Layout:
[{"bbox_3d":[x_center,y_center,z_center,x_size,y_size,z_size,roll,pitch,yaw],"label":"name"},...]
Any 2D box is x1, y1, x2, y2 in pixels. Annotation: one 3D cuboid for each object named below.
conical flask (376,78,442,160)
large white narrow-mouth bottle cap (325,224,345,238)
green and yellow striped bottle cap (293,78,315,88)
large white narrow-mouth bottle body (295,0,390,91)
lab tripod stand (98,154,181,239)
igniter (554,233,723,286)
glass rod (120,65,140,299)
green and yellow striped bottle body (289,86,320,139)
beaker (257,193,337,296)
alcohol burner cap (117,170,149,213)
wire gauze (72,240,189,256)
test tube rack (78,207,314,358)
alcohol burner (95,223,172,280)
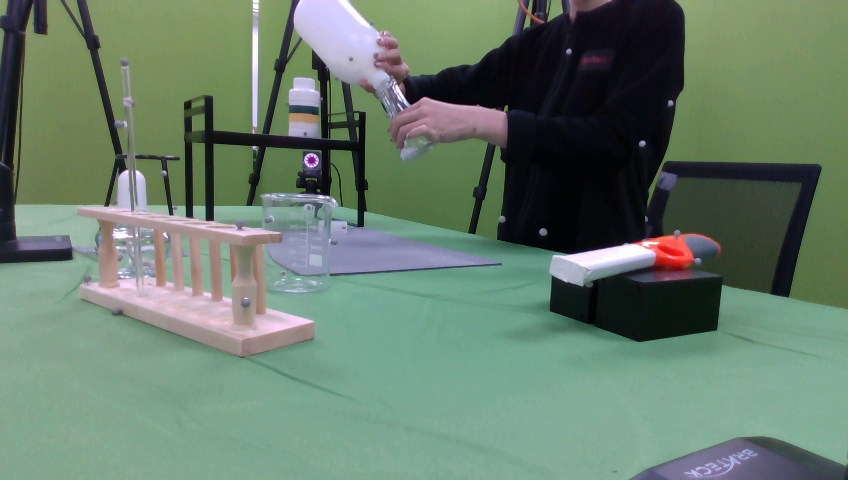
[{"bbox_3d":[-0.031,-0.194,0.963,0.075,0.122,0.075,-31,2,1],"label":"conical flask"},{"bbox_3d":[-0.160,-0.017,1.090,0.038,0.024,0.037,3,9,0],"label":"large white narrow-mouth bottle cap"},{"bbox_3d":[-0.248,-0.323,1.256,0.045,0.020,0.045,4,8,0],"label":"green and yellow striped bottle cap"},{"bbox_3d":[-0.122,-0.316,0.988,0.194,0.101,0.102,51,29,19],"label":"large white narrow-mouth bottle body"},{"bbox_3d":[-0.427,-0.066,0.942,0.148,0.131,0.148,1,6,0],"label":"lab tripod stand"},{"bbox_3d":[0.214,0.015,0.570,0.278,0.025,0.057,-5,22,-44],"label":"igniter"},{"bbox_3d":[-0.249,-0.047,0.512,0.008,0.199,0.008,-1,3,0],"label":"glass rod"},{"bbox_3d":[-0.250,-0.272,1.261,0.063,0.119,0.063,3,7,0],"label":"green and yellow striped bottle body"},{"bbox_3d":[-0.130,0.003,0.628,0.084,0.100,0.074,5,8,15],"label":"beaker"},{"bbox_3d":[-0.320,-0.053,0.661,0.034,0.048,0.034,-3,0,0],"label":"alcohol burner cap"},{"bbox_3d":[-0.399,0.013,0.820,0.126,0.011,0.121,-3,8,-37],"label":"wire gauze"},{"bbox_3d":[-0.196,0.024,0.500,0.241,0.085,0.067,8,8,37],"label":"test tube rack"},{"bbox_3d":[-0.320,-0.017,0.667,0.078,0.119,0.078,0,7,0],"label":"alcohol burner"}]
